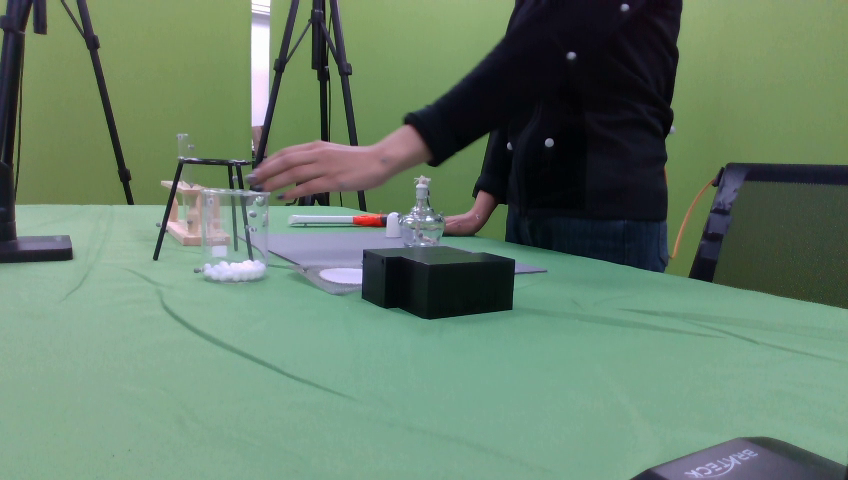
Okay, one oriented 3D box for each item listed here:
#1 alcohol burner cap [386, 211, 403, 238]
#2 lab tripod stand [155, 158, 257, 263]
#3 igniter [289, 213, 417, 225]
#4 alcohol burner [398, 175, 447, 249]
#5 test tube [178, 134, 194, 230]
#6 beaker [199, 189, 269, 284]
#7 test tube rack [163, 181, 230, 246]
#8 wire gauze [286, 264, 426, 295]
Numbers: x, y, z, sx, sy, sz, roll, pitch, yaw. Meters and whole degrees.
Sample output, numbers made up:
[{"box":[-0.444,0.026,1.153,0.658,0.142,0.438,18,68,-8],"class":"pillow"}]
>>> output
[{"box":[-0.053,-0.029,1.107,0.034,0.048,0.034,3,8,0],"class":"alcohol burner cap"},{"box":[-0.276,-0.041,0.797,0.148,0.131,0.148,2,9,0],"class":"lab tripod stand"},{"box":[-0.144,-0.044,1.275,0.278,0.025,0.057,-1,-2,-27],"class":"igniter"},{"box":[-0.003,-0.046,0.973,0.078,0.119,0.078,0,7,0],"class":"alcohol burner"},{"box":[-0.367,-0.089,0.938,0.017,0.150,0.017,-1,9,1],"class":"test tube"},{"box":[-0.209,-0.006,0.676,0.073,0.100,0.084,7,7,27],"class":"beaker"},{"box":[-0.387,-0.050,1.015,0.067,0.085,0.241,-2,9,-30],"class":"test tube rack"},{"box":[-0.080,0.039,0.692,0.122,0.011,0.124,-4,10,-37],"class":"wire gauze"}]
